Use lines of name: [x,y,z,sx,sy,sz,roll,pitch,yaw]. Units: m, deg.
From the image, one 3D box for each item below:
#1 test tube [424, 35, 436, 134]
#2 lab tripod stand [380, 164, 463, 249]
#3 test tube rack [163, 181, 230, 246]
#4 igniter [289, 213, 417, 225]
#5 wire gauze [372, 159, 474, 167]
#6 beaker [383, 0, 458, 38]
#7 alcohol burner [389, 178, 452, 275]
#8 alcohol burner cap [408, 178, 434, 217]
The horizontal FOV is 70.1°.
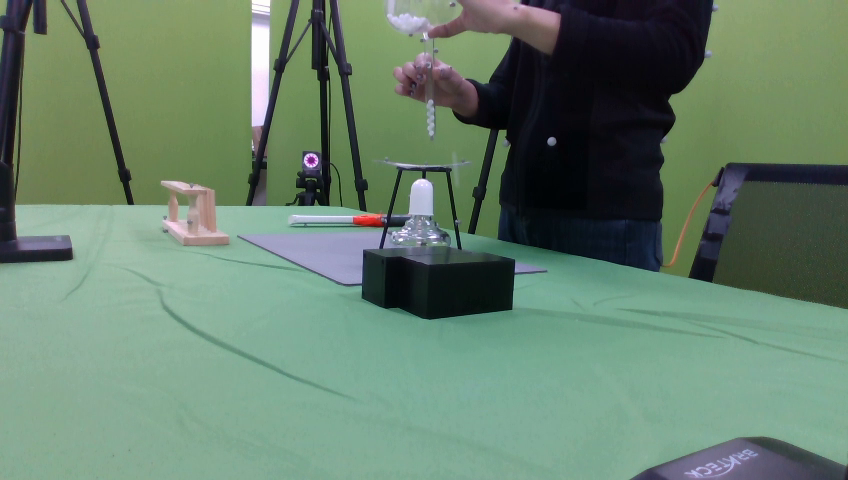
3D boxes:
test tube: [0.009,-0.237,0.932,0.017,0.150,0.017,-2,24,1]
lab tripod stand: [-0.003,-0.055,0.967,0.148,0.131,0.148,2,9,0]
test tube rack: [-0.387,-0.050,1.015,0.067,0.085,0.241,-2,9,-30]
igniter: [-0.144,-0.044,1.275,0.278,0.025,0.057,-1,-2,-28]
wire gauze: [-0.004,-0.122,0.958,0.122,0.011,0.124,-4,9,-33]
beaker: [-0.007,-0.325,0.848,0.074,0.084,0.100,22,27,19]
alcohol burner: [-0.004,-0.017,0.749,0.078,0.119,0.078,1,9,0]
alcohol burner cap: [-0.003,-0.053,0.746,0.034,0.048,0.034,3,2,0]
